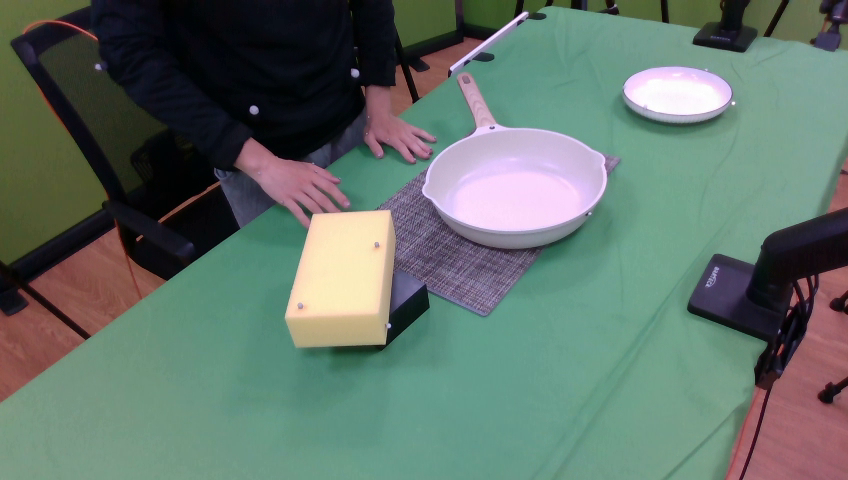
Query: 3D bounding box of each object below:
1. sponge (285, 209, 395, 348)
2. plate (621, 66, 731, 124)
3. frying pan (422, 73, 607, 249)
[{"bbox_3d":[-0.107,0.047,0.823,0.118,0.061,0.206,-3,41,4],"label":"sponge"},{"bbox_3d":[0.504,-0.288,1.221,0.207,0.039,0.206,-4,41,4],"label":"plate"},{"bbox_3d":[0.130,-0.161,1.069,0.307,0.103,0.484,-10,49,-5],"label":"frying pan"}]
